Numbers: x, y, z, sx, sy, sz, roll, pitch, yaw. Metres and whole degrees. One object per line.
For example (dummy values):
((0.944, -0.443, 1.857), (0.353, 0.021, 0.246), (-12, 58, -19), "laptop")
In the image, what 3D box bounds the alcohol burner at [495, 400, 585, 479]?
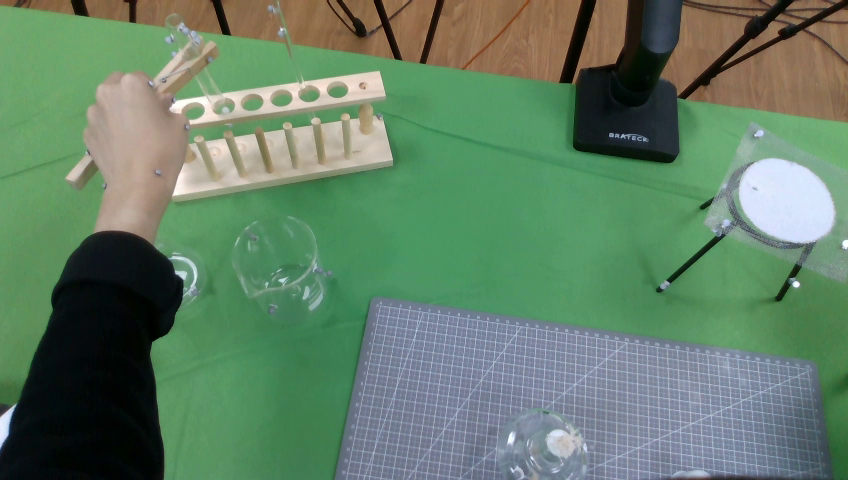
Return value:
((0.101, 0.170, 0.507), (0.078, 0.120, 0.077), (2, 63, -3), "alcohol burner")

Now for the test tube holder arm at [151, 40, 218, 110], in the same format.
((-0.215, -0.148, 0.539), (0.010, 0.015, 0.087), (35, 58, -3), "test tube holder arm")

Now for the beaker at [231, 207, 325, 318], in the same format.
((-0.135, 0.029, 0.577), (0.074, 0.101, 0.083), (22, 66, 9), "beaker")

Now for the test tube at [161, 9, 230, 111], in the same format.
((-0.210, -0.159, 0.571), (0.017, 0.151, 0.017), (0, 69, 0), "test tube")

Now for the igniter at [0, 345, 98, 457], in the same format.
((-0.382, 0.194, 0.474), (0.057, 0.025, 0.276), (34, 67, 24), "igniter")

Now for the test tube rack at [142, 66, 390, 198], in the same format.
((-0.163, -0.116, 0.652), (0.243, 0.086, 0.066), (-11, 65, -8), "test tube rack")

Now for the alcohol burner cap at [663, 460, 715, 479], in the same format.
((0.235, 0.209, 0.533), (0.034, 0.048, 0.033), (1, 64, -2), "alcohol burner cap")

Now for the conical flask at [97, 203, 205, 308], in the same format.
((-0.260, 0.010, 0.568), (0.075, 0.123, 0.074), (1, 64, -1), "conical flask")

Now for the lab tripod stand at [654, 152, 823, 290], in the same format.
((0.312, -0.012, 0.594), (0.148, 0.132, 0.147), (2, 63, -3), "lab tripod stand")

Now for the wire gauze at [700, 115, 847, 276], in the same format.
((0.321, -0.042, 0.534), (0.121, 0.011, 0.124), (28, 67, 9), "wire gauze")

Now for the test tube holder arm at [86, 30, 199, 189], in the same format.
((-0.236, -0.116, 0.516), (0.013, 0.015, 0.177), (25, 59, -9), "test tube holder arm")

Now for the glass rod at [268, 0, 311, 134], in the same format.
((-0.132, -0.173, 0.608), (0.008, 0.201, 0.008), (-2, 57, 3), "glass rod")
